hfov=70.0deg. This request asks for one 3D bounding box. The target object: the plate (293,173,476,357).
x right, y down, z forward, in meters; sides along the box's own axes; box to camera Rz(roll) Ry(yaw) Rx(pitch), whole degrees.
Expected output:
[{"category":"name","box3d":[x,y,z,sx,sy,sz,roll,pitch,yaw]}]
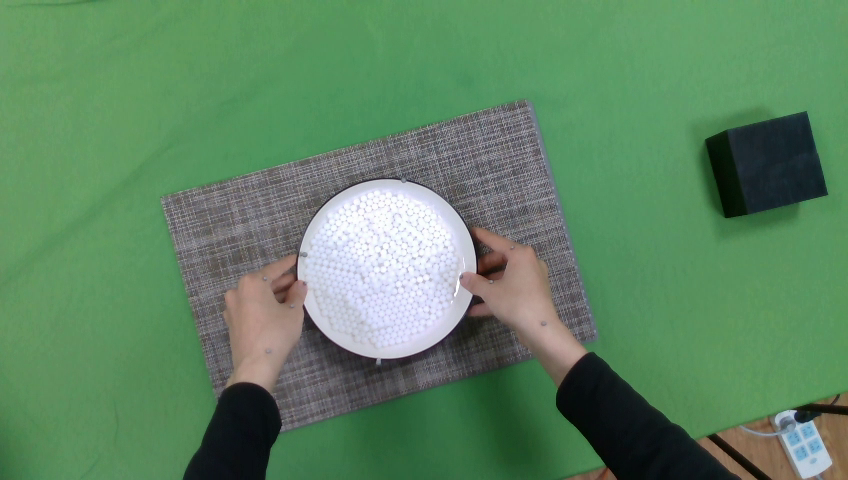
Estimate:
[{"category":"plate","box3d":[-0.044,0.028,0.701,0.209,0.038,0.209,0,88,-2]}]
